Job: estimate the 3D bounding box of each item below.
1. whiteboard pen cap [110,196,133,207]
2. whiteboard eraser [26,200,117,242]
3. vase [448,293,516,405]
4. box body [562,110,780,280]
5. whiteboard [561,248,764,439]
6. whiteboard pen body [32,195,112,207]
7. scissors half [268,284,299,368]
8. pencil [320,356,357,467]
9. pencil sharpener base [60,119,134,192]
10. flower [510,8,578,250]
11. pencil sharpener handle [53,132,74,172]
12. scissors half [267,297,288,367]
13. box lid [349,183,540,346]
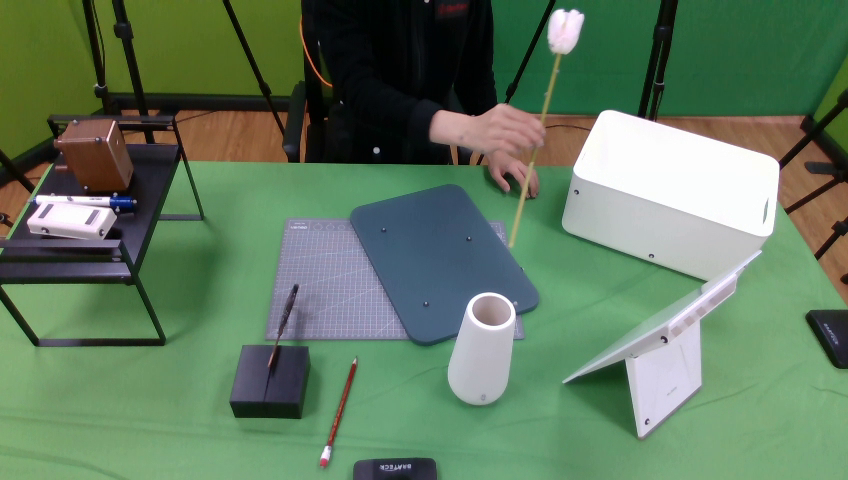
[{"bbox_3d":[-0.486,-0.061,0.972,0.033,0.018,0.018,0,47,-9],"label":"whiteboard pen cap"},{"bbox_3d":[-0.532,-0.026,0.919,0.113,0.042,0.055,7,45,3],"label":"whiteboard eraser"},{"bbox_3d":[0.091,0.169,0.921,0.098,0.201,0.097,3,47,-3],"label":"vase"},{"bbox_3d":[0.486,-0.089,1.222,0.363,0.161,0.253,20,48,15],"label":"box body"},{"bbox_3d":[0.386,0.176,0.905,0.217,0.306,0.143,-26,72,-27],"label":"whiteboard"},{"bbox_3d":[-0.543,-0.061,0.961,0.141,0.017,0.017,1,46,-10],"label":"whiteboard pen body"},{"bbox_3d":[-0.230,0.135,0.986,0.013,0.040,0.174,19,43,-10],"label":"scissors half"},{"bbox_3d":[-0.130,0.261,0.946,0.012,0.012,0.193,10,45,5],"label":"pencil"},{"bbox_3d":[-0.528,-0.135,0.979,0.077,0.107,0.061,-4,47,-7],"label":"pencil sharpener base"},{"bbox_3d":[0.167,-0.153,0.901,0.044,0.362,0.038,13,20,12],"label":"flower"},{"bbox_3d":[-0.578,-0.138,0.961,0.031,0.068,0.036,-4,34,-7],"label":"pencil sharpener handle"},{"bbox_3d":[-0.238,0.150,0.997,0.013,0.040,0.174,24,24,-13],"label":"scissors half"},{"bbox_3d":[0.030,0.031,1.176,0.263,0.015,0.369,-16,49,-18],"label":"box lid"}]
